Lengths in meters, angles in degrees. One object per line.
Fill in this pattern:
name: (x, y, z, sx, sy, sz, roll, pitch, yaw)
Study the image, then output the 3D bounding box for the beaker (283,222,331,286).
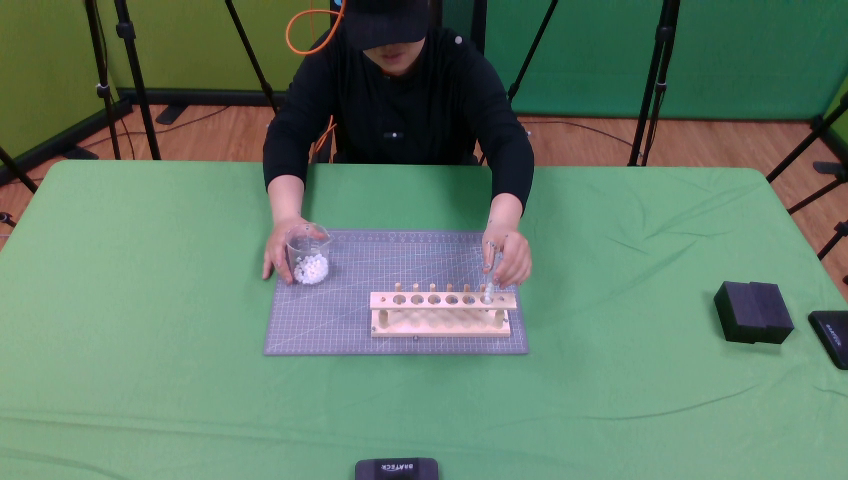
beaker: (-0.208, 0.028, 1.098, 0.084, 0.101, 0.073, 2, 46, -4)

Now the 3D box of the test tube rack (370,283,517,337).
test tube rack: (0.030, 0.116, 1.041, 0.242, 0.085, 0.066, 1, 46, -4)

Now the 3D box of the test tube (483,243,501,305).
test tube: (0.107, 0.062, 0.972, 0.017, 0.151, 0.017, 1, 44, -1)
